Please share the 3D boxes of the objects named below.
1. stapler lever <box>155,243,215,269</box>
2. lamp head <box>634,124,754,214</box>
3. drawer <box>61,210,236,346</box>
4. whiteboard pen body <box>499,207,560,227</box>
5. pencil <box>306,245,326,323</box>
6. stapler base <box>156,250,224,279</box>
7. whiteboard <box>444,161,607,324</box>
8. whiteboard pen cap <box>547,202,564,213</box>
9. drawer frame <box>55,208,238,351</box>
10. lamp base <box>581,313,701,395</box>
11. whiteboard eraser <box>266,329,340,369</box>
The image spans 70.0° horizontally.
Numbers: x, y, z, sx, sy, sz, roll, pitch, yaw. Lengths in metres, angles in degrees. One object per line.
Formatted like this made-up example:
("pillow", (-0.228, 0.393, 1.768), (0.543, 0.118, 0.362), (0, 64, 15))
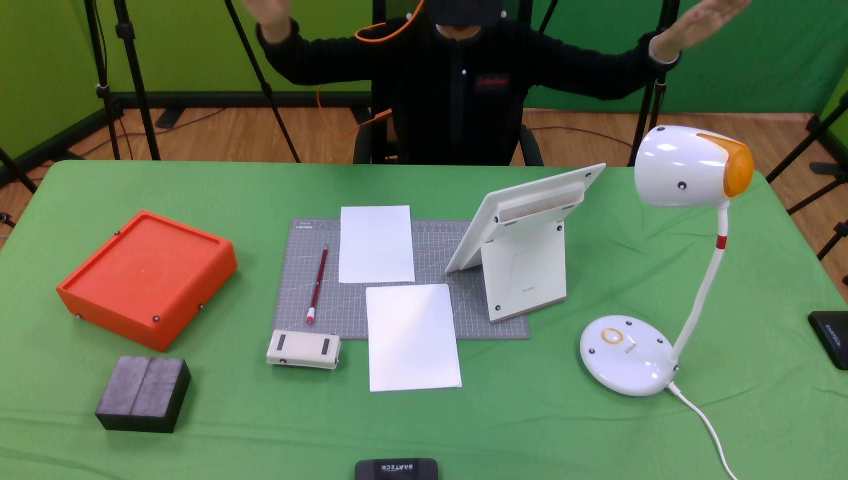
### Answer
("stapler lever", (-0.433, 0.023, 1.097), (0.118, 0.040, 0.026), (14, 39, 14))
("lamp head", (0.351, -0.089, 0.775), (0.112, 0.113, 0.122), (-30, 30, -28))
("drawer", (-0.474, 0.061, 1.063), (0.194, 0.073, 0.211), (19, 49, 13))
("whiteboard pen body", (0.222, -0.051, 1.259), (0.141, 0.017, 0.017), (-15, 49, -16))
("pencil", (-0.196, 0.076, 1.115), (0.012, 0.012, 0.193), (4, 44, 0))
("stapler base", (-0.431, 0.040, 1.111), (0.130, 0.024, 0.041), (11, 38, 17))
("whiteboard", (0.186, 0.025, 1.029), (0.217, 0.306, 0.143), (-15, 68, -18))
("whiteboard pen cap", (0.277, -0.066, 1.275), (0.033, 0.018, 0.018), (-18, 50, -15))
("drawer frame", (-0.474, 0.062, 1.059), (0.201, 0.083, 0.213), (18, 48, 12))
("lamp base", (0.361, 0.144, 0.973), (0.178, 0.181, 0.160), (34, 53, 23))
("whiteboard eraser", (-0.198, 0.181, 0.994), (0.113, 0.042, 0.055), (5, 45, 1))
